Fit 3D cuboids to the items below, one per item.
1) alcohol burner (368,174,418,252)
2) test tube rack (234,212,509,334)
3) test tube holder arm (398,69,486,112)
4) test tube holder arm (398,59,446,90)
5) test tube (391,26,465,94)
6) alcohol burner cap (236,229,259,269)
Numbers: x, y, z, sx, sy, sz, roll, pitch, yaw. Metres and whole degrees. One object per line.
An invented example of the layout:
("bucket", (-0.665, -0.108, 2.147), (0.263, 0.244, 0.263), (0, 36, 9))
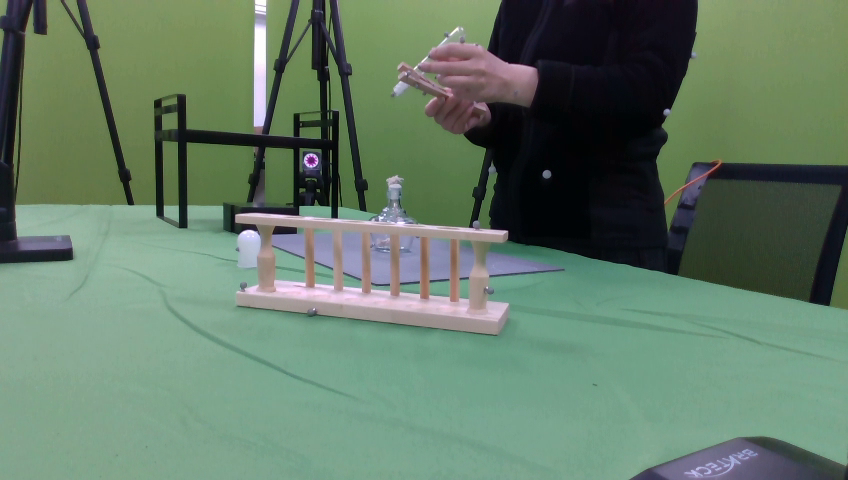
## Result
("alcohol burner", (-0.047, -0.042, 0.922), (0.078, 0.119, 0.078), (1, 10, 0))
("test tube rack", (-0.046, 0.023, 0.547), (0.242, 0.085, 0.067), (4, 7, 15))
("test tube holder arm", (0.032, -0.226, 0.925), (0.179, 0.013, 0.015), (12, -25, -42))
("test tube holder arm", (-0.002, -0.241, 0.898), (0.088, 0.010, 0.015), (24, -33, -37))
("test tube", (0.002, -0.254, 0.864), (0.017, 0.017, 0.149), (-6, -20, -47))
("alcohol burner cap", (-0.221, 0.010, 0.759), (0.034, 0.048, 0.034), (-1, 12, 0))
